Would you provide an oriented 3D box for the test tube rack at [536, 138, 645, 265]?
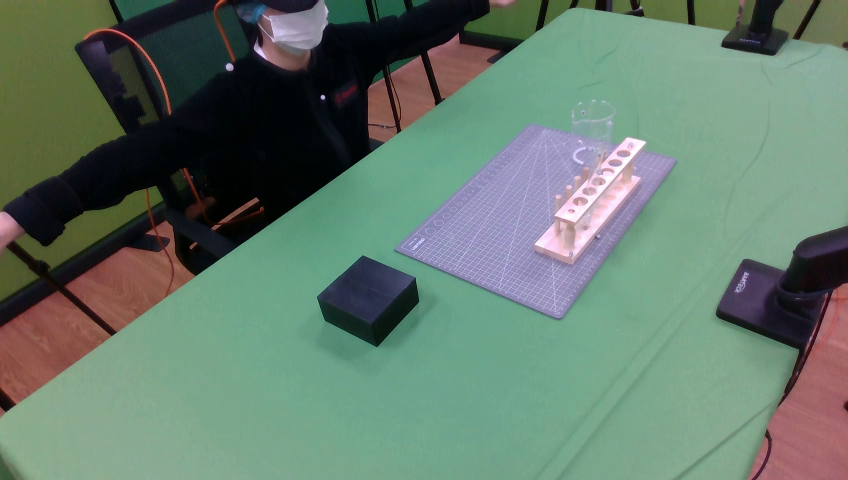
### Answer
[{"bbox_3d":[0.268,-0.071,0.964,0.066,0.085,0.243,23,49,32],"label":"test tube rack"}]

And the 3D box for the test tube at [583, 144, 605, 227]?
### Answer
[{"bbox_3d":[0.251,-0.077,0.896,0.017,0.151,0.017,-2,43,3],"label":"test tube"}]

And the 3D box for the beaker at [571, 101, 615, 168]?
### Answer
[{"bbox_3d":[0.299,-0.186,1.086,0.084,0.101,0.073,-28,43,-21],"label":"beaker"}]
